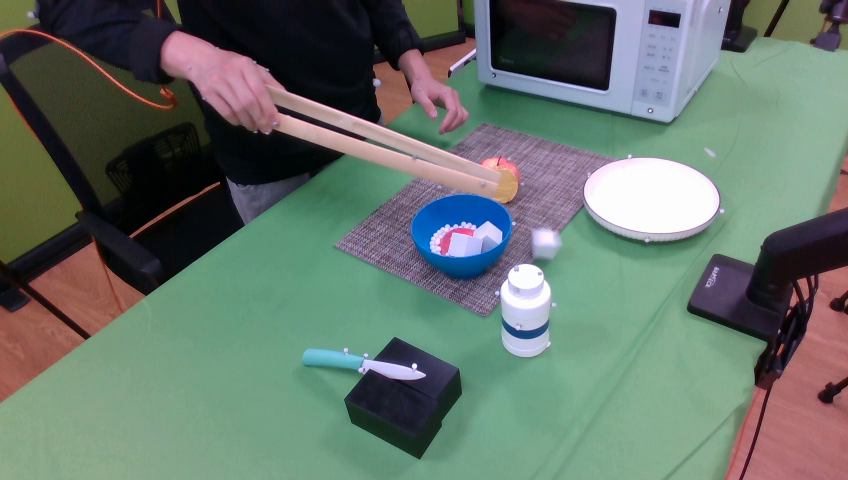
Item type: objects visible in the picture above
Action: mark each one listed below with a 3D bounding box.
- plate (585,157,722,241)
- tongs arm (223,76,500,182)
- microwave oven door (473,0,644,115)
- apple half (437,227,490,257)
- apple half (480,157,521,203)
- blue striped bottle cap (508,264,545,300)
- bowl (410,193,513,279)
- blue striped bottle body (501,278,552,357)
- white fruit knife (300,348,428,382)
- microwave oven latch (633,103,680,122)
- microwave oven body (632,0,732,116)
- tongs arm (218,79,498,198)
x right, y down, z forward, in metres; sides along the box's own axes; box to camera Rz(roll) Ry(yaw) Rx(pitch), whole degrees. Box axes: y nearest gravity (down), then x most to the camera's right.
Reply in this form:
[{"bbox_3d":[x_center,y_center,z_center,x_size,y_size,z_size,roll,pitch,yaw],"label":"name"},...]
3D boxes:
[{"bbox_3d":[0.367,-0.063,0.979,0.207,0.039,0.206,-4,40,4],"label":"plate"},{"bbox_3d":[-0.082,-0.147,0.814,0.388,0.028,0.028,19,46,-1],"label":"tongs arm"},{"bbox_3d":[0.257,-0.396,1.199,0.353,0.245,0.039,21,48,29],"label":"microwave oven door"},{"bbox_3d":[0.056,0.001,0.902,0.081,0.033,0.081,-3,41,3],"label":"apple half"},{"bbox_3d":[0.128,-0.106,1.030,0.080,0.075,0.053,4,38,19],"label":"apple half"},{"bbox_3d":[0.125,0.050,0.735,0.044,0.021,0.044,-5,39,5],"label":"blue striped bottle cap"},{"bbox_3d":[0.058,0.005,0.905,0.151,0.077,0.150,-4,40,4],"label":"bowl"},{"bbox_3d":[0.129,0.089,0.769,0.063,0.121,0.063,-4,41,4],"label":"blue striped bottle body"},{"bbox_3d":[-0.080,0.154,0.748,0.206,0.027,0.016,1,20,34],"label":"white fruit knife"},{"bbox_3d":[0.444,-0.249,1.157,0.078,0.029,0.030,21,48,30],"label":"microwave oven latch"},{"bbox_3d":[0.377,-0.462,1.267,0.438,0.261,0.327,21,48,30],"label":"microwave oven body"},{"bbox_3d":[-0.087,-0.132,0.797,0.386,0.026,0.050,16,43,-5],"label":"tongs arm"}]
